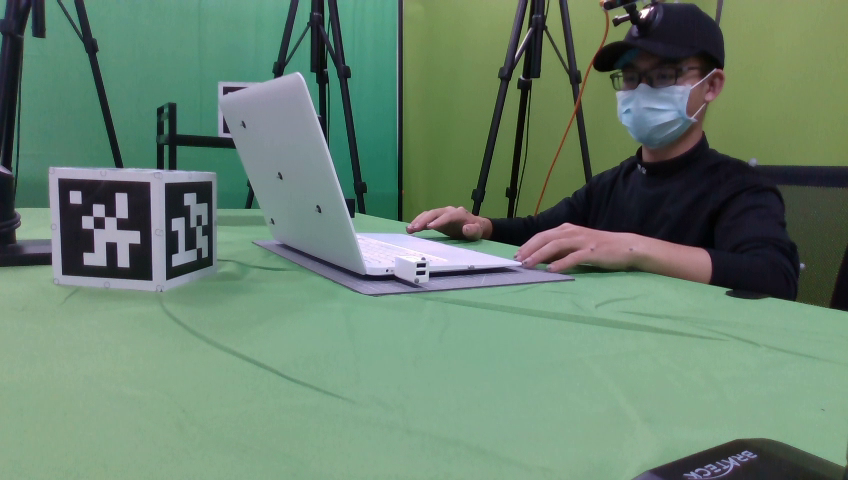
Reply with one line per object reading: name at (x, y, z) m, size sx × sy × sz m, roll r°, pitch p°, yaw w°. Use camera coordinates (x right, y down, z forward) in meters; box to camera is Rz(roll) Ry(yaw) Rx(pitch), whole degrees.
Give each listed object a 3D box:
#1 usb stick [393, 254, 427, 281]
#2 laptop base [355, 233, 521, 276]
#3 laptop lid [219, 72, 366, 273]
usb stick at (-0.020, 0.030, 0.694) m, size 0.021 × 0.027 × 0.059 m, roll -4°, pitch 5°, yaw -31°
laptop base at (-0.056, 0.018, 0.898) m, size 0.237 × 0.023 × 0.352 m, roll 2°, pitch 6°, yaw -32°
laptop lid at (-0.189, -0.087, 0.801) m, size 0.013 × 0.242 × 0.355 m, roll -26°, pitch 21°, yaw -26°
